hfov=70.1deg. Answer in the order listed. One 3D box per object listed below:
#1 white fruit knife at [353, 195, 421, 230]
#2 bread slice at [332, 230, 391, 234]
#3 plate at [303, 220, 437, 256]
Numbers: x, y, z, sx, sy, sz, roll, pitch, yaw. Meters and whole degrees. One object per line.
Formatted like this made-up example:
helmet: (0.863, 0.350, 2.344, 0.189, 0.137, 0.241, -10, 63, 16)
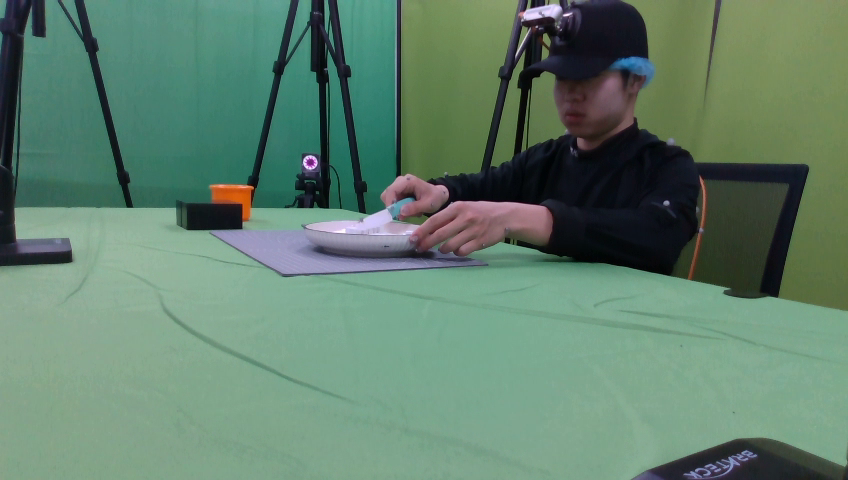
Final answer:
white fruit knife: (-0.057, -0.046, 0.988, 0.016, 0.027, 0.208, -4, 13, 28)
bread slice: (-0.088, -0.001, 0.947, 0.105, 0.019, 0.131, -5, 11, -45)
plate: (-0.084, -0.003, 0.951, 0.209, 0.038, 0.209, 3, 7, 0)
